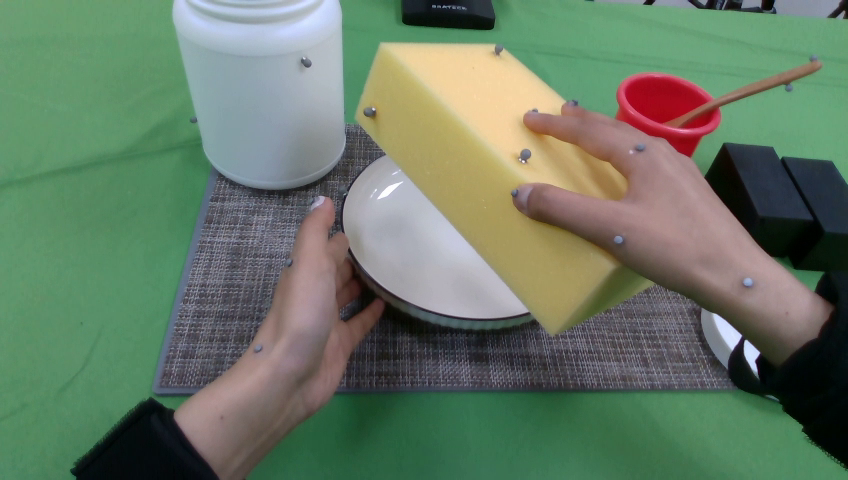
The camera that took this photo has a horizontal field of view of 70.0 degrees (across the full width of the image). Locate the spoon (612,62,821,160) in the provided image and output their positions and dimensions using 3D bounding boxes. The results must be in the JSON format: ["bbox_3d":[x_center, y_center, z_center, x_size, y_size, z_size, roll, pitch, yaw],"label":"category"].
[{"bbox_3d":[0.266,-0.120,0.572,0.193,0.022,0.041,-25,37,31],"label":"spoon"}]

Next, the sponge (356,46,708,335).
[{"bbox_3d":[0.065,-0.047,0.399,0.118,0.061,0.205,-18,56,-42],"label":"sponge"}]

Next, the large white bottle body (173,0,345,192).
[{"bbox_3d":[-0.135,-0.148,0.517,0.131,0.186,0.129,3,48,-3],"label":"large white bottle body"}]

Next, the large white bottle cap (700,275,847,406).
[{"bbox_3d":[0.280,0.076,0.482,0.115,0.018,0.113,6,48,-6],"label":"large white bottle cap"}]

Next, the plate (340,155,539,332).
[{"bbox_3d":[0.034,-0.005,0.509,0.209,0.038,0.207,4,47,-4],"label":"plate"}]
